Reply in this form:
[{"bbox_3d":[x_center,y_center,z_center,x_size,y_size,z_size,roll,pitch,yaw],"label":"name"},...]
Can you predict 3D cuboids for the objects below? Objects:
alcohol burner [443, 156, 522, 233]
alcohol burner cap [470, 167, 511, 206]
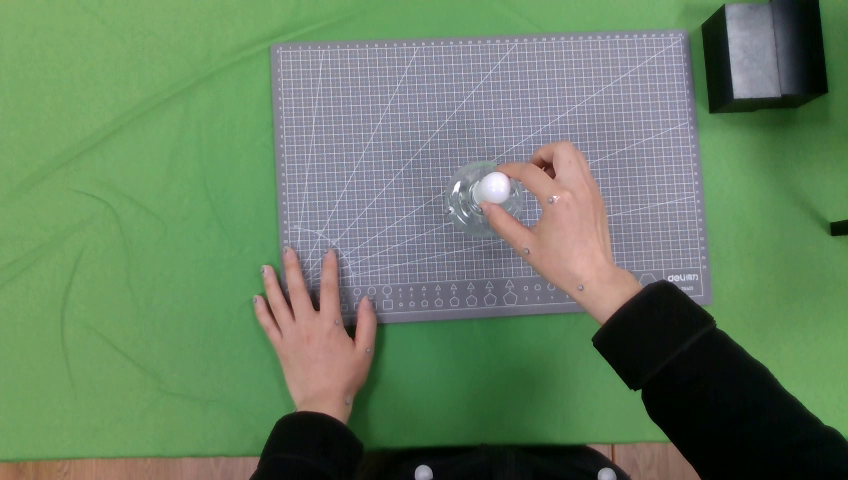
[{"bbox_3d":[0.058,-0.046,0.581,0.078,0.119,0.078,0,87,-1],"label":"alcohol burner"},{"bbox_3d":[0.061,-0.049,0.536,0.034,0.048,0.034,0,86,-6],"label":"alcohol burner cap"}]
